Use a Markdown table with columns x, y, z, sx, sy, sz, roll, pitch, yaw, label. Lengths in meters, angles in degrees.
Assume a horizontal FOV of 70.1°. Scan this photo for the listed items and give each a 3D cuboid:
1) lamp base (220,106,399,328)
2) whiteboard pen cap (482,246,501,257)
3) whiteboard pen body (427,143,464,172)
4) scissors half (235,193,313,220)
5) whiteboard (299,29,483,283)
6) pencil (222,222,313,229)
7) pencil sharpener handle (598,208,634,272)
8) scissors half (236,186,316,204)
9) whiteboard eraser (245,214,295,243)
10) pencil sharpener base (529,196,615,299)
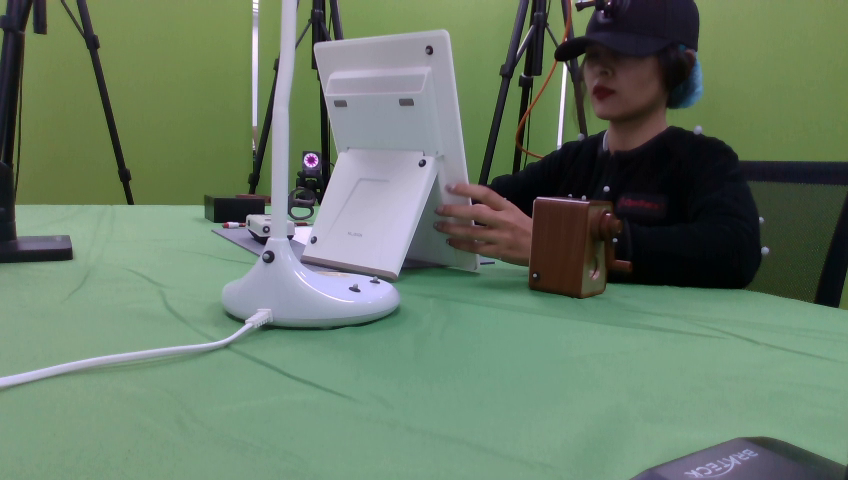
| x | y | z | sx | sy | sz | roll | pitch | yaw | label |
| --- | --- | --- | --- | --- | --- | --- | --- | --- | --- |
| -0.101 | -0.023 | 0.531 | 0.160 | 0.180 | 0.179 | 4 | 10 | 10 | lamp base |
| 0.104 | 0.017 | 0.936 | 0.018 | 0.018 | 0.033 | -1 | 3 | -22 | whiteboard pen cap |
| 0.031 | -0.118 | 0.852 | 0.017 | 0.017 | 0.141 | 5 | -4 | 21 | whiteboard pen body |
| -0.324 | -0.077 | 1.319 | 0.176 | 0.040 | 0.012 | 17 | 6 | -31 | scissors half |
| -0.074 | -0.082 | 0.742 | 0.216 | 0.305 | 0.144 | 9 | 29 | 37 | whiteboard |
| -0.302 | -0.030 | 1.189 | 0.195 | 0.012 | 0.012 | -2 | 9 | -42 | pencil |
| 0.208 | 0.000 | 0.644 | 0.030 | 0.068 | 0.036 | 10 | 23 | 42 | pencil sharpener handle |
| -0.320 | -0.097 | 1.316 | 0.176 | 0.040 | 0.013 | -3 | 11 | -29 | scissors half |
| -0.247 | -0.018 | 0.965 | 0.056 | 0.042 | 0.112 | 0 | 8 | -28 | whiteboard eraser |
| 0.168 | 0.007 | 0.678 | 0.076 | 0.107 | 0.062 | 10 | 10 | 42 | pencil sharpener base |
